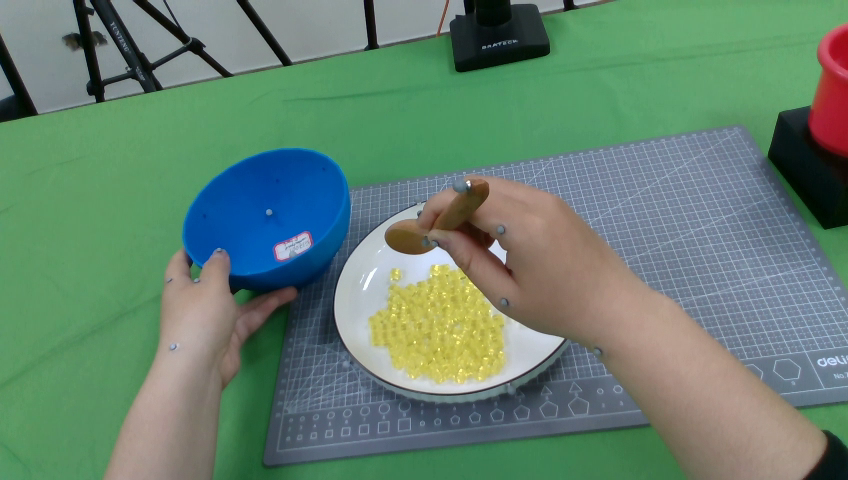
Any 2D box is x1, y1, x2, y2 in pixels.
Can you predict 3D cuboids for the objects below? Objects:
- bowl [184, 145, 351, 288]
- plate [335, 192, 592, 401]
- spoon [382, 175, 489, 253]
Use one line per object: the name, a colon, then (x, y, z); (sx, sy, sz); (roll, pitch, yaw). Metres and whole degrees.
bowl: (-0.132, -0.008, 0.559); (0.151, 0.077, 0.150); (-7, 50, 9)
plate: (0.032, 0.043, 0.501); (0.207, 0.039, 0.205); (-7, 47, 8)
spoon: (0.007, -0.010, 0.364); (0.042, 0.193, 0.021); (13, 82, -11)
